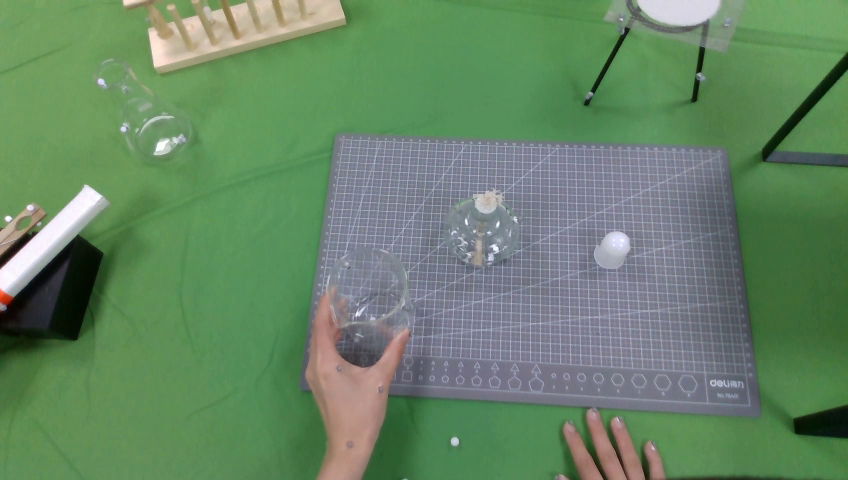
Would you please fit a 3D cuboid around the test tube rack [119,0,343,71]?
[{"bbox_3d":[-0.230,-0.289,0.738,0.242,0.086,0.066,-17,68,-5],"label":"test tube rack"}]

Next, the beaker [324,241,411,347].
[{"bbox_3d":[-0.051,0.059,0.579,0.073,0.101,0.083,29,69,17],"label":"beaker"}]

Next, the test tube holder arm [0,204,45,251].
[{"bbox_3d":[-0.421,-0.002,0.611,0.010,0.015,0.087,46,74,-14],"label":"test tube holder arm"}]

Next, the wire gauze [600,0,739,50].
[{"bbox_3d":[0.256,-0.253,0.610,0.121,0.011,0.124,24,72,9],"label":"wire gauze"}]

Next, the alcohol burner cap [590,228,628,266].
[{"bbox_3d":[0.194,0.004,0.628,0.034,0.048,0.033,0,68,1],"label":"alcohol burner cap"}]

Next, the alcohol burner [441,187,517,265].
[{"bbox_3d":[0.056,-0.020,0.603,0.078,0.120,0.077,0,67,0],"label":"alcohol burner"}]

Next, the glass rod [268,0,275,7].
[{"bbox_3d":[-0.206,-0.347,0.688,0.008,0.201,0.008,-3,61,7],"label":"glass rod"}]

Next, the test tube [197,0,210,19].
[{"bbox_3d":[-0.273,-0.312,0.695,0.017,0.151,0.017,1,65,-2],"label":"test tube"}]

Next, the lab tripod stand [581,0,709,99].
[{"bbox_3d":[0.250,-0.226,0.672,0.148,0.132,0.147,0,67,0],"label":"lab tripod stand"}]

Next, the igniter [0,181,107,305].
[{"bbox_3d":[-0.422,0.051,0.588,0.057,0.025,0.276,31,71,23],"label":"igniter"}]

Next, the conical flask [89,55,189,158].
[{"bbox_3d":[-0.316,-0.150,0.664,0.075,0.123,0.075,-1,68,2],"label":"conical flask"}]

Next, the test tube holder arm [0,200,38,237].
[{"bbox_3d":[-0.454,0.027,0.598,0.013,0.015,0.178,45,74,-14],"label":"test tube holder arm"}]
